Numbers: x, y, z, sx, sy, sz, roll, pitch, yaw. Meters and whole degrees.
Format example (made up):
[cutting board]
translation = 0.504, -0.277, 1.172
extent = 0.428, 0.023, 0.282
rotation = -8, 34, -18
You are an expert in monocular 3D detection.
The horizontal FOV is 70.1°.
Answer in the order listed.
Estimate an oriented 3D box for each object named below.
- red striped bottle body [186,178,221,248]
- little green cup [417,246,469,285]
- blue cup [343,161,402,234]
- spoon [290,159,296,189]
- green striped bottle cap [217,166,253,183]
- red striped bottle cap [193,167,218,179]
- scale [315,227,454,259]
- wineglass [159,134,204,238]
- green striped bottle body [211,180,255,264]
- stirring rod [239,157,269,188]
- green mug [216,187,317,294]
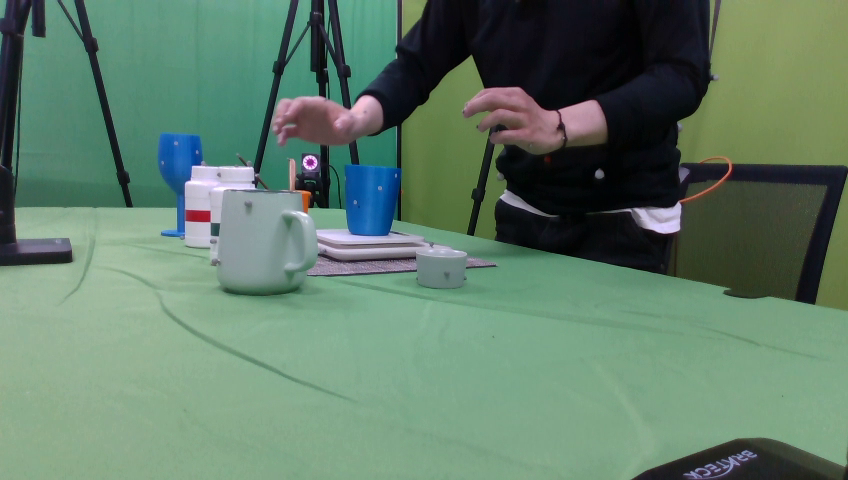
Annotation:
[red striped bottle body]
translation = -0.331, -0.049, 0.927
extent = 0.063, 0.119, 0.063
rotation = 2, 6, 0
[little green cup]
translation = 0.021, 0.029, 0.701
extent = 0.061, 0.038, 0.061
rotation = 1, 6, 0
[blue cup]
translation = -0.078, -0.062, 0.884
extent = 0.093, 0.100, 0.092
rotation = 4, 5, 0
[spoon]
translation = -0.273, -0.102, 1.252
extent = 0.042, 0.193, 0.021
rotation = 7, -38, -17
[green striped bottle cap]
translation = -0.242, -0.085, 0.777
extent = 0.044, 0.020, 0.044
rotation = 2, 9, 0
[red striped bottle cap]
translation = -0.329, -0.103, 0.921
extent = 0.044, 0.017, 0.044
rotation = -1, 9, 0
[scale]
translation = -0.067, 0.001, 0.906
extent = 0.202, 0.031, 0.148
rotation = -2, 8, -31
[wineglass]
translation = -0.415, -0.093, 1.039
extent = 0.074, 0.172, 0.073
rotation = 2, 7, 0
[green striped bottle body]
translation = -0.243, -0.029, 0.784
extent = 0.063, 0.119, 0.063
rotation = 2, 7, 0
[stirring rod]
translation = -0.309, -0.098, 1.209
extent = 0.006, 0.177, 0.014
rotation = -39, 29, -4
[green mug]
translation = -0.157, 0.000, 0.629
extent = 0.124, 0.105, 0.093
rotation = 7, 9, 37
